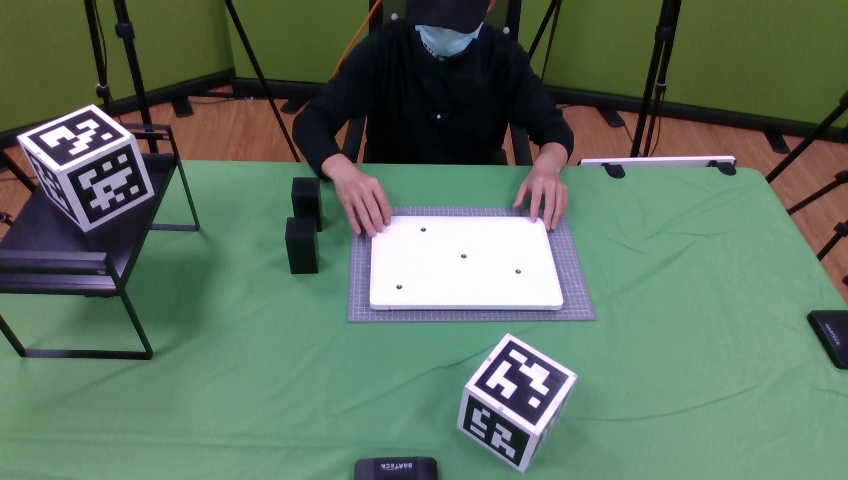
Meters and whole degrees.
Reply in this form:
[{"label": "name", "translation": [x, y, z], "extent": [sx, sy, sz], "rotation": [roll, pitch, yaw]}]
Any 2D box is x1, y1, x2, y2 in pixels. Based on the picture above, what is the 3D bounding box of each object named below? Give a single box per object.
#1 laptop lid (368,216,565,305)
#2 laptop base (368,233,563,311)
[{"label": "laptop lid", "translation": [0.075, 0.033, 1.151], "extent": [0.357, 0.013, 0.240], "rotation": [2, 44, -2]}, {"label": "laptop base", "translation": [0.074, 0.044, 1.160], "extent": [0.354, 0.023, 0.234], "rotation": [0, 43, -3]}]
